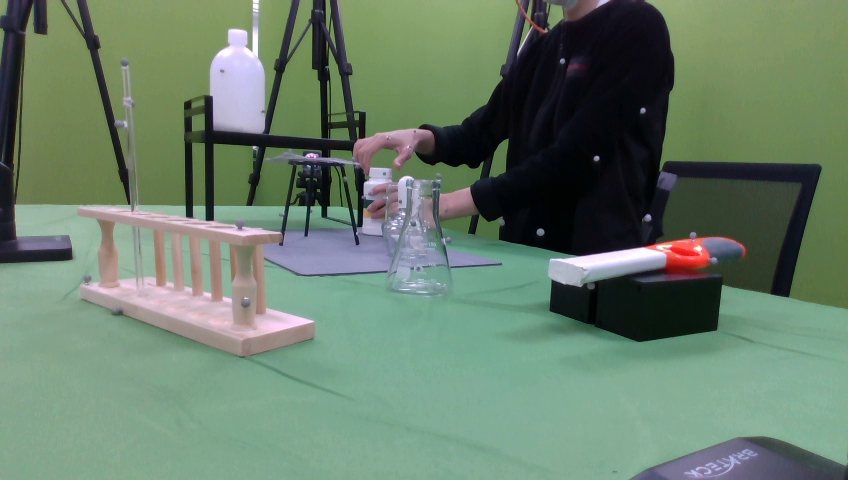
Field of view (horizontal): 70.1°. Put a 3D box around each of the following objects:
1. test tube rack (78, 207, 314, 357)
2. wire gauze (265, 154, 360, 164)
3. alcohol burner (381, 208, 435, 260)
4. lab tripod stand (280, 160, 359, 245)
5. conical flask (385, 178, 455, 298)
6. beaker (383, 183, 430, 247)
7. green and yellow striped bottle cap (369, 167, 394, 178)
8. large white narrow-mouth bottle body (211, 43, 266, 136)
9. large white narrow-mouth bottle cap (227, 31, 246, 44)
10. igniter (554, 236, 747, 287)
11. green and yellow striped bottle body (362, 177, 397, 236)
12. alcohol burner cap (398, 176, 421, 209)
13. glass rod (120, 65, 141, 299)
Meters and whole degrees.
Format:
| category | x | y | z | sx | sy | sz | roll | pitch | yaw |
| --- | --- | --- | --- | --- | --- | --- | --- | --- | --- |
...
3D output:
| category | x | y | z | sx | sy | sz | roll | pitch | yaw |
| --- | --- | --- | --- | --- | --- | --- | --- | --- | --- |
| test tube rack | -0.197 | 0.023 | 0.499 | 0.241 | 0.085 | 0.067 | 8 | 9 | 37 |
| wire gauze | -0.181 | -0.129 | 0.969 | 0.126 | 0.011 | 0.121 | -1 | 7 | -27 |
| alcohol burner | -0.023 | -0.032 | 0.871 | 0.078 | 0.119 | 0.078 | 0 | 6 | 0 |
| lab tripod stand | -0.176 | -0.062 | 0.973 | 0.148 | 0.131 | 0.148 | 1 | 7 | 0 |
| conical flask | -0.002 | -0.004 | 0.639 | 0.075 | 0.122 | 0.075 | 2 | 7 | 0 |
| beaker | -0.027 | -0.041 | 0.996 | 0.074 | 0.100 | 0.083 | -5 | 11 | -43 |
| green and yellow striped bottle cap | -0.078 | -0.124 | 1.110 | 0.045 | 0.020 | 0.045 | -1 | 9 | 0 |
| large white narrow-mouth bottle body | -0.361 | -0.302 | 1.176 | 0.102 | 0.194 | 0.102 | 1 | 7 | 0 |
| large white narrow-mouth bottle cap | -0.361 | -0.388 | 1.166 | 0.038 | 0.024 | 0.037 | 1 | 7 | 0 |
| igniter | 0.221 | 0.017 | 0.558 | 0.278 | 0.025 | 0.057 | -5 | 15 | -39 |
| green and yellow striped bottle body | -0.081 | -0.070 | 1.118 | 0.063 | 0.119 | 0.063 | 2 | 7 | 0 |
| alcohol burner cap | -0.023 | -0.068 | 0.866 | 0.034 | 0.048 | 0.034 | -5 | 8 | 1 |
| glass rod | -0.249 | -0.047 | 0.513 | 0.008 | 0.199 | 0.008 | -1 | 4 | 0 |
